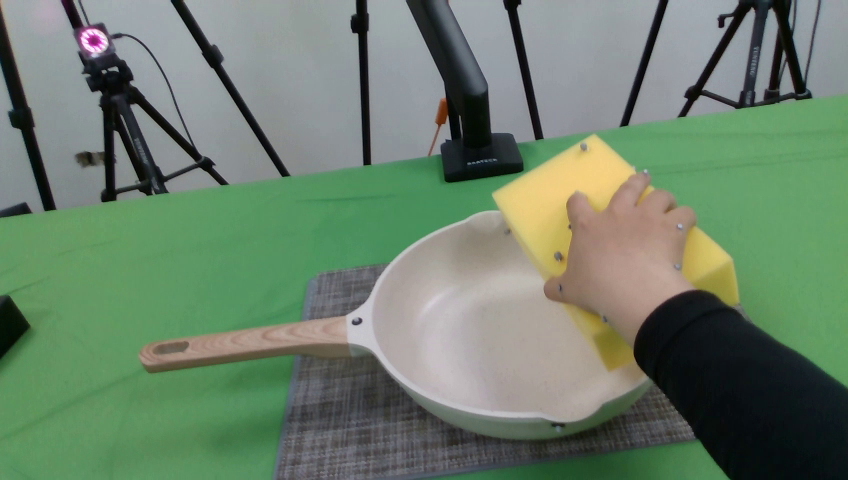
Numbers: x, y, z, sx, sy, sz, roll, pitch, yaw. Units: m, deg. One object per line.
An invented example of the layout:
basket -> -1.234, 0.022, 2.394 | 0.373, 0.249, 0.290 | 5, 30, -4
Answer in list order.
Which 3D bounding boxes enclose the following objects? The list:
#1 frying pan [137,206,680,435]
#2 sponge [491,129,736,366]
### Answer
frying pan -> -0.013, 0.077, 0.572 | 0.489, 0.103, 0.303 | -4, 33, -7
sponge -> 0.156, -0.004, 0.539 | 0.118, 0.061, 0.204 | -31, 40, 4
